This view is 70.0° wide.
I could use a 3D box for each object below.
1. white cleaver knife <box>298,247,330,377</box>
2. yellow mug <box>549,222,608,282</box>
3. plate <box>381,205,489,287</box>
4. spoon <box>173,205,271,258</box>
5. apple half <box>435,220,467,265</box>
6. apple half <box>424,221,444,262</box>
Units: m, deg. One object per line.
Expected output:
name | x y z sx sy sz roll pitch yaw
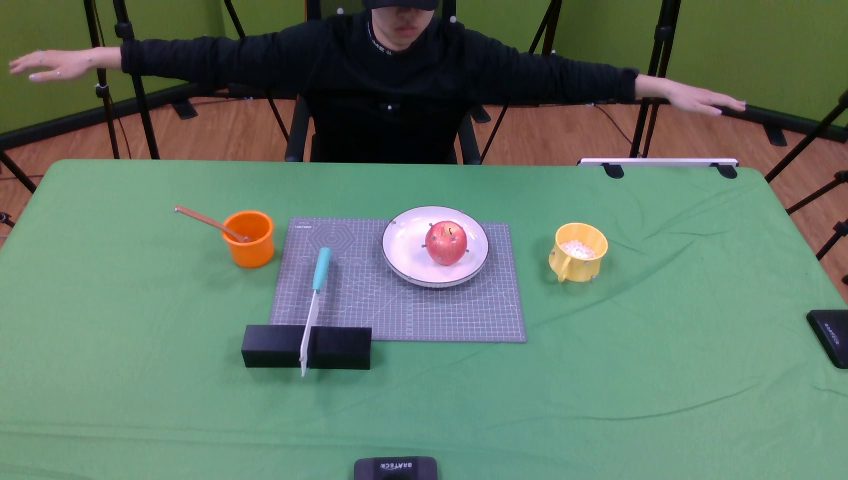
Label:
white cleaver knife | -0.191 0.111 1.037 0.021 0.066 0.285 5 36 -2
yellow mug | 0.287 0.031 1.159 0.099 0.064 0.130 27 51 21
plate | 0.021 0.015 1.170 0.209 0.038 0.208 2 46 -2
spoon | -0.362 -0.017 1.098 0.021 0.195 0.041 -33 42 27
apple half | 0.054 0.009 1.142 0.053 0.075 0.080 14 44 3
apple half | 0.016 0.002 1.144 0.033 0.081 0.081 14 46 2
